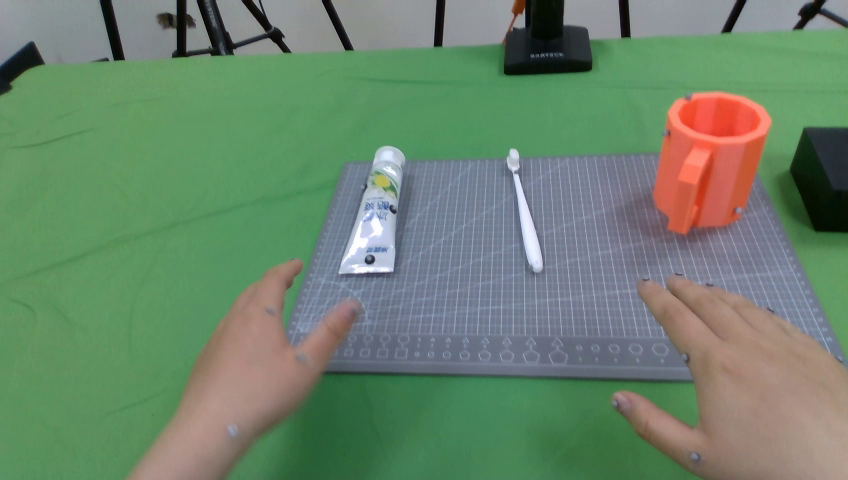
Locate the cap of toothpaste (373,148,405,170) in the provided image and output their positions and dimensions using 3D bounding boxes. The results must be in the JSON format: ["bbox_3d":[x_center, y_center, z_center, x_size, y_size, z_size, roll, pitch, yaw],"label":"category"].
[{"bbox_3d":[-0.039,-0.087,0.680,0.037,0.038,0.011,-1,47,8],"label":"cap of toothpaste"}]

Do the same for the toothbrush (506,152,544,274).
[{"bbox_3d":[0.102,-0.033,0.616,0.014,0.017,0.180,7,43,-9],"label":"toothbrush"}]

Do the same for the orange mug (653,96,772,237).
[{"bbox_3d":[0.259,-0.063,0.564,0.083,0.102,0.126,21,45,29],"label":"orange mug"}]

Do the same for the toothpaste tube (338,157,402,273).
[{"bbox_3d":[-0.049,-0.030,0.628,0.055,0.035,0.163,-5,46,13],"label":"toothpaste tube"}]
